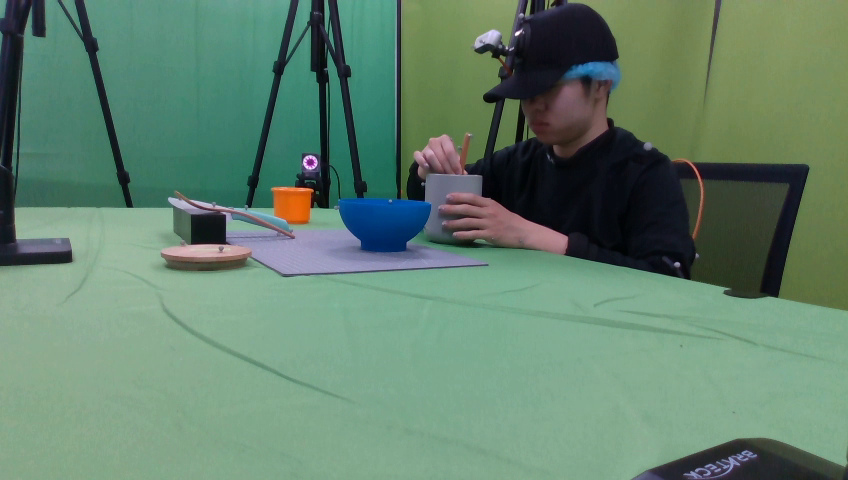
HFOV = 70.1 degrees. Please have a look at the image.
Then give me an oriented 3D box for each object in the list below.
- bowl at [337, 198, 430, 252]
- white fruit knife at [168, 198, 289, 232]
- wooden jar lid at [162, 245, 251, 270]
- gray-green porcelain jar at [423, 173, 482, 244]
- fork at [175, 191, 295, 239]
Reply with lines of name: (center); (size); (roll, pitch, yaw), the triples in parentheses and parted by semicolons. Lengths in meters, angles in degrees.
bowl: (-0.066, -0.024, 0.967); (0.151, 0.077, 0.151); (3, 7, 0)
white fruit knife: (-0.329, -0.044, 1.036); (0.208, 0.027, 0.016); (14, -1, -32)
wooden jar lid: (-0.278, 0.022, 0.777); (0.108, 0.020, 0.108); (2, 6, 0)
gray-green porcelain jar: (0.052, -0.059, 1.116); (0.106, 0.126, 0.106); (3, 8, 0)
fork: (-0.305, -0.039, 0.993); (0.208, 0.018, 0.028); (19, -8, -34)
